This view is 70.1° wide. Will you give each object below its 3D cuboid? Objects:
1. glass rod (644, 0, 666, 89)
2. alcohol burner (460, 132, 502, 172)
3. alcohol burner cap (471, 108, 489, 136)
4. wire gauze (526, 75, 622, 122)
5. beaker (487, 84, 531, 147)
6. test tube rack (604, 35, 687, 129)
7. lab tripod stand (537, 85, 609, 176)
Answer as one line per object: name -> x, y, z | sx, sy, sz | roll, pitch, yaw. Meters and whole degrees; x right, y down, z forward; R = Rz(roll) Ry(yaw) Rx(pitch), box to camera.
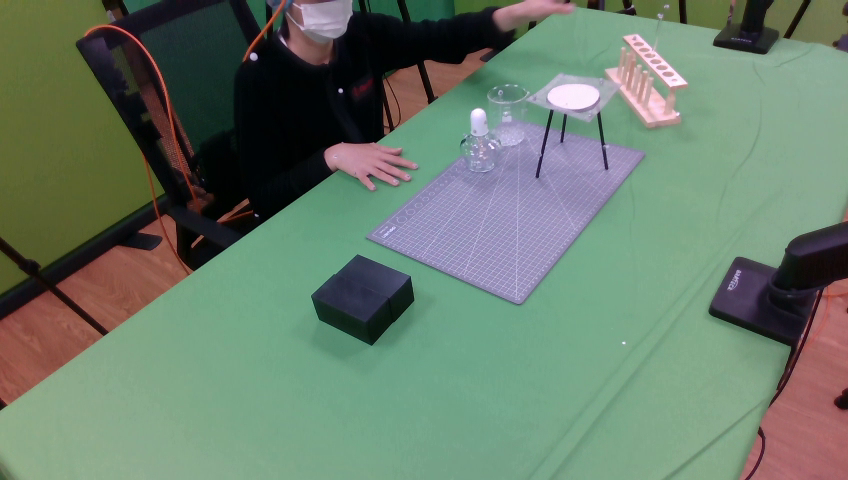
glass rod -> 0.465, -0.397, 1.215 | 0.008, 0.200, 0.008 | 0, 39, 1
alcohol burner -> 0.102, -0.185, 1.098 | 0.078, 0.119, 0.077 | -6, 40, 5
alcohol burner cap -> 0.098, -0.211, 1.074 | 0.034, 0.048, 0.033 | -6, 42, 6
wire gauze -> 0.255, -0.248, 1.030 | 0.124, 0.011, 0.122 | 24, 51, 32
beaker -> 0.163, -0.237, 1.161 | 0.084, 0.101, 0.073 | -9, 41, -3
test tube rack -> 0.447, -0.330, 1.241 | 0.067, 0.085, 0.241 | -9, 41, -2
lab tripod stand -> 0.259, -0.192, 1.068 | 0.148, 0.132, 0.147 | -4, 42, 4
